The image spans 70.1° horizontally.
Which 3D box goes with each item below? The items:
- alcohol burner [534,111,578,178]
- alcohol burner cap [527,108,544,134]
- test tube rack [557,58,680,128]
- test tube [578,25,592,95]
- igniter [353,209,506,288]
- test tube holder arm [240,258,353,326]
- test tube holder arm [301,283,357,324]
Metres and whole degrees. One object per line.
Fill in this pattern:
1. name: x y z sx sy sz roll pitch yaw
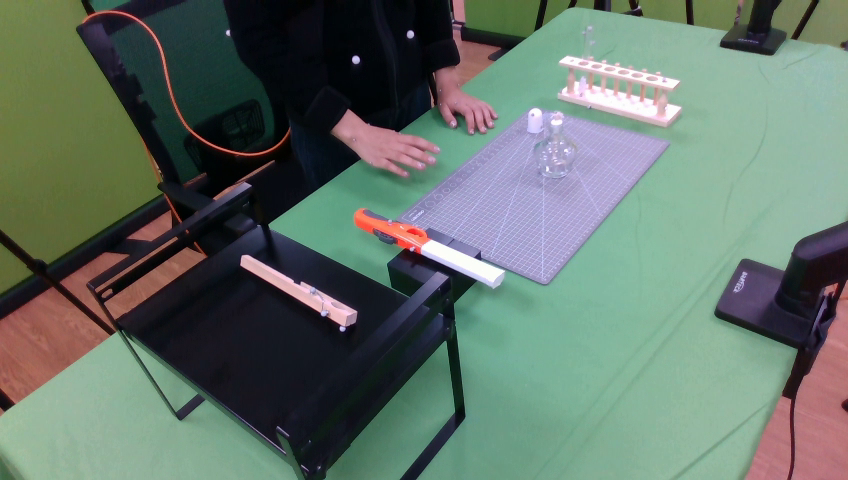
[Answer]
1. alcohol burner: 0.232 -0.170 1.065 0.078 0.119 0.077 -5 39 4
2. alcohol burner cap: 0.222 -0.238 1.203 0.034 0.048 0.033 -5 41 5
3. test tube rack: 0.395 -0.309 1.230 0.240 0.085 0.067 25 50 33
4. test tube: 0.326 -0.362 1.227 0.017 0.151 0.017 -3 44 4
5. igniter: -0.003 0.006 0.892 0.274 0.025 0.057 24 37 31
6. test tube holder arm: -0.143 0.053 0.658 0.177 0.015 0.013 21 14 32
7. test tube holder arm: -0.105 0.066 0.638 0.087 0.015 0.010 21 14 33
